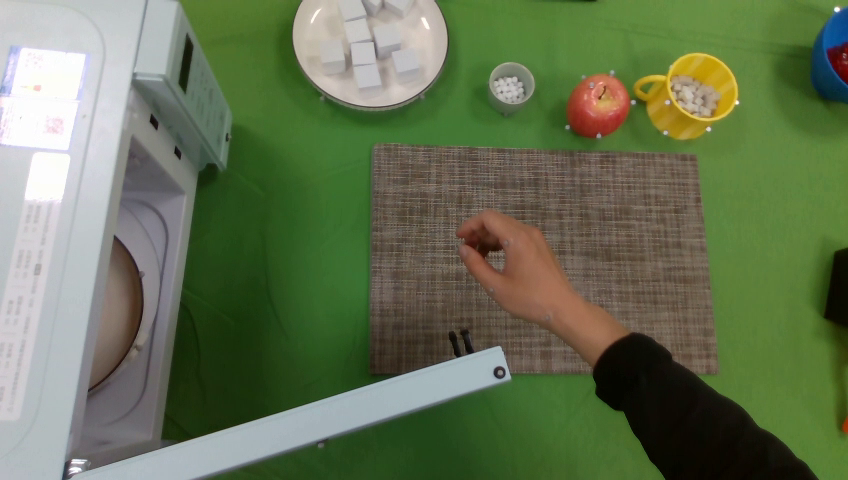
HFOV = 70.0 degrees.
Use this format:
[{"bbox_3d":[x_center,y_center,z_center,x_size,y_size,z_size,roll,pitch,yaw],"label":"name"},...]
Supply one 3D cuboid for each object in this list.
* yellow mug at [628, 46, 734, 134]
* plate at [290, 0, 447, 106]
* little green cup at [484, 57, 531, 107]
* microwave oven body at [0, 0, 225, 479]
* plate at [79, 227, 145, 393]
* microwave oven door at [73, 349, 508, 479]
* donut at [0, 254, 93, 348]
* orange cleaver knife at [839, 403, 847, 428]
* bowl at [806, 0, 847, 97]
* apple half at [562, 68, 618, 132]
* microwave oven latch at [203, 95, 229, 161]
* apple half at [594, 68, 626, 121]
[{"bbox_3d":[0.346,-0.208,0.833,0.131,0.064,0.099,11,76,-3],"label":"yellow mug"},{"bbox_3d":[-0.073,-0.273,0.819,0.208,0.039,0.206,1,77,-5],"label":"plate"},{"bbox_3d":[0.111,-0.212,0.825,0.061,0.039,0.061,1,77,-5],"label":"little green cup"},{"bbox_3d":[-0.407,0.000,0.607,0.326,0.261,0.439,4,78,-5],"label":"microwave oven body"},{"bbox_3d":[-0.404,0.070,0.645,0.209,0.038,0.208,1,78,-6],"label":"plate"},{"bbox_3d":[-0.110,0.171,0.595,0.356,0.244,0.039,-15,78,-9],"label":"microwave oven door"},{"bbox_3d":[-0.401,0.064,0.635,0.099,0.048,0.098,1,79,-7],"label":"donut"},{"bbox_3d":[0.579,0.140,0.769,0.012,0.077,0.212,20,108,1],"label":"orange cleaver knife"},{"bbox_3d":[0.608,-0.262,0.866,0.151,0.077,0.150,1,78,-5],"label":"bowl"},{"bbox_3d":[0.214,-0.180,0.811,0.053,0.075,0.080,-26,85,-6],"label":"apple half"},{"bbox_3d":[-0.260,-0.141,0.751,0.030,0.029,0.079,5,78,-5],"label":"microwave oven latch"},{"bbox_3d":[0.249,-0.197,0.817,0.033,0.081,0.081,-26,81,-6],"label":"apple half"}]
